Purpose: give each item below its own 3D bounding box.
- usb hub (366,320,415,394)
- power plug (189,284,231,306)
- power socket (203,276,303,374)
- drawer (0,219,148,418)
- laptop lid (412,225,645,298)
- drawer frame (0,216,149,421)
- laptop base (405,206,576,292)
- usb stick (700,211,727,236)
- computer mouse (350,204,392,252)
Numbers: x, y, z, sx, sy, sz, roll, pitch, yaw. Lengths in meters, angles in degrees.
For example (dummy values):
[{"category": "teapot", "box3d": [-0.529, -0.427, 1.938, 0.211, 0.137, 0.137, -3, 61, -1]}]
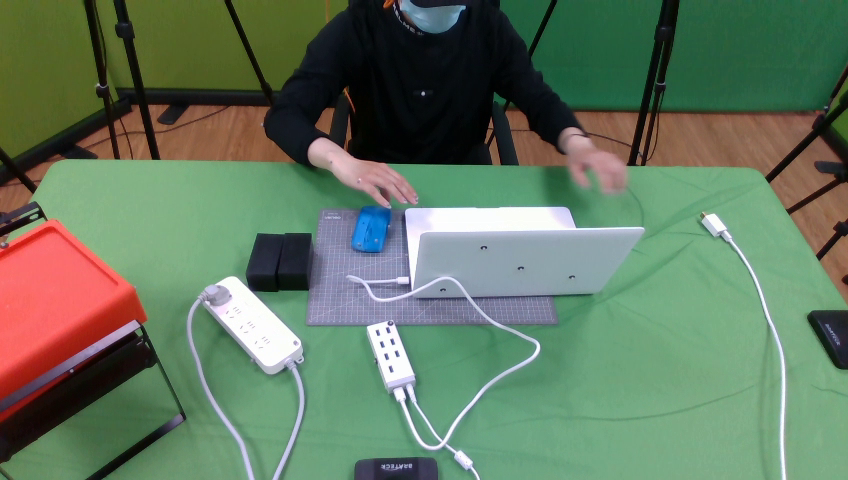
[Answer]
[{"category": "usb hub", "box3d": [-0.056, 0.192, 1.009, 0.049, 0.025, 0.124, -12, 49, -16]}, {"category": "power plug", "box3d": [-0.368, 0.100, 1.037, 0.072, 0.053, 0.035, -24, 54, -26]}, {"category": "power socket", "box3d": [-0.296, 0.141, 1.034, 0.072, 0.033, 0.225, -35, 58, -30]}, {"category": "drawer", "box3d": [-0.509, 0.093, 0.783, 0.193, 0.073, 0.211, 32, 53, 24]}, {"category": "laptop lid", "box3d": [0.161, 0.042, 1.012, 0.357, 0.242, 0.013, 0, 59, -7]}, {"category": "drawer frame", "box3d": [-0.510, 0.093, 0.780, 0.201, 0.083, 0.213, 31, 52, 23]}, {"category": "laptop base", "box3d": [0.143, 0.018, 1.196, 0.355, 0.023, 0.234, -1, 43, -6]}, {"category": "usb stick", "box3d": [0.606, -0.038, 1.273, 0.027, 0.021, 0.059, -18, 56, -20]}, {"category": "computer mouse", "box3d": [-0.104, -0.027, 1.202, 0.063, 0.041, 0.116, 11, 51, 4]}]
